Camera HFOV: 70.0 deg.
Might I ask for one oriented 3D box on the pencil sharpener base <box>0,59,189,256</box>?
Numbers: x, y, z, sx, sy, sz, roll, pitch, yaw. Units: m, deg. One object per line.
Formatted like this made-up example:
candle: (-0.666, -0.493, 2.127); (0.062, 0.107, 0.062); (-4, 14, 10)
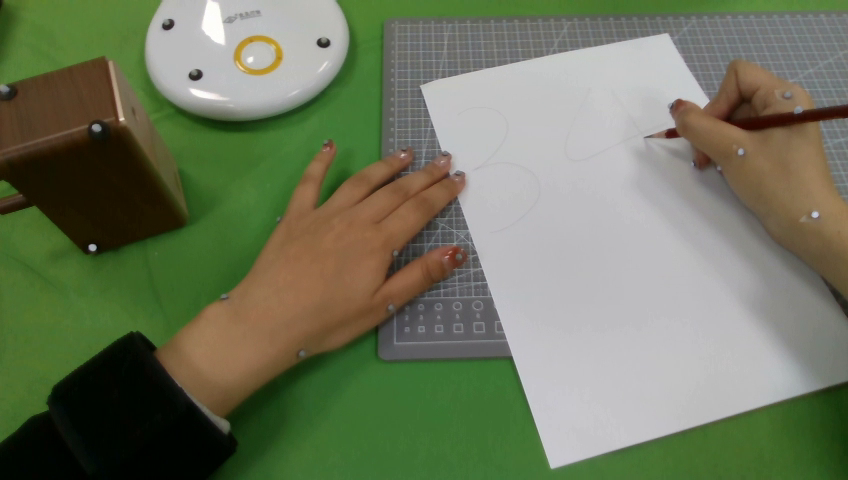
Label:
pencil sharpener base: (-0.205, -0.046, 0.378); (0.077, 0.108, 0.061); (-20, 62, -10)

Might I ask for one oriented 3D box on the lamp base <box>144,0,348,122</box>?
lamp base: (-0.149, -0.205, 0.426); (0.160, 0.182, 0.177); (-30, 62, -15)

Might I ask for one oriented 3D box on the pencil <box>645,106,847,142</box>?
pencil: (0.217, -0.072, 0.369); (0.012, 0.193, 0.012); (-48, 116, -23)

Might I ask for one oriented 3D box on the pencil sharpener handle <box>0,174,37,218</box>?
pencil sharpener handle: (-0.253, -0.035, 0.358); (0.031, 0.068, 0.035); (-20, 65, -10)
